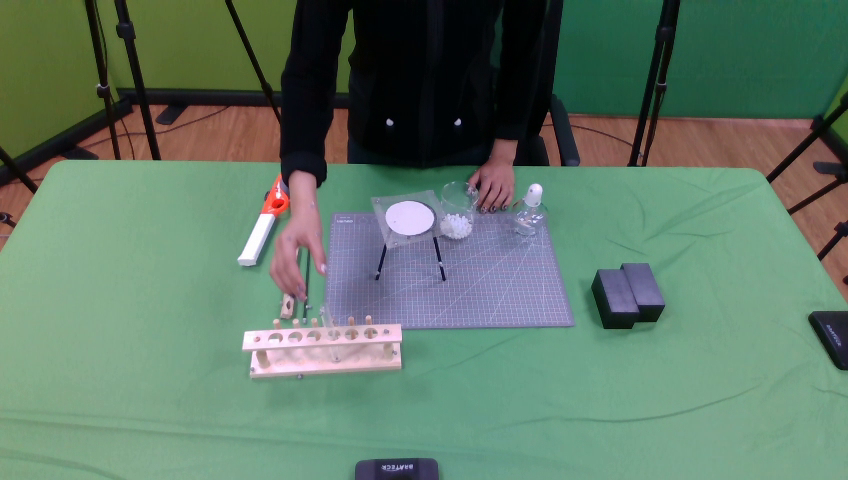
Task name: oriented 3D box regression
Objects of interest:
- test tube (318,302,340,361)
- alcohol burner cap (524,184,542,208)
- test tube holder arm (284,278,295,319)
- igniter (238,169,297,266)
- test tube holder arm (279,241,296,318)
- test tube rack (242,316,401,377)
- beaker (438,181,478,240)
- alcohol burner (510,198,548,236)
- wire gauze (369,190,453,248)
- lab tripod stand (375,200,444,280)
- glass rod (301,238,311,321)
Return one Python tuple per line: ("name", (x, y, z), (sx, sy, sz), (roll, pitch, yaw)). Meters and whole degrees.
("test tube", (-0.145, 0.145, 0.935), (0.017, 0.151, 0.017), (-1, 48, 1))
("alcohol burner cap", (0.216, -0.089, 1.186), (0.034, 0.048, 0.033), (1, 56, -1))
("test tube holder arm", (-0.242, 0.103, 1.085), (0.010, 0.015, 0.087), (26, 38, -28))
("igniter", (-0.313, -0.054, 1.224), (0.057, 0.025, 0.275), (1, 45, 10))
("test tube holder arm", (-0.249, 0.069, 1.113), (0.013, 0.015, 0.177), (26, 38, -29))
("test tube rack", (-0.161, 0.166, 0.983), (0.242, 0.085, 0.066), (-2, 46, -6))
("beaker", (0.066, -0.053, 1.200), (0.074, 0.101, 0.083), (-17, 50, -19))
("alcohol burner", (0.214, -0.066, 1.213), (0.078, 0.119, 0.077), (3, 48, -3))
("wire gauze", (-0.024, -0.042, 1.064), (0.121, 0.011, 0.124), (-10, 48, -16))
("lab tripod stand", (-0.023, 0.004, 1.113), (0.148, 0.132, 0.147), (4, 45, -3))
("glass rod", (-0.218, 0.069, 1.125), (0.008, 0.008, 0.198), (-1, 47, -5))
